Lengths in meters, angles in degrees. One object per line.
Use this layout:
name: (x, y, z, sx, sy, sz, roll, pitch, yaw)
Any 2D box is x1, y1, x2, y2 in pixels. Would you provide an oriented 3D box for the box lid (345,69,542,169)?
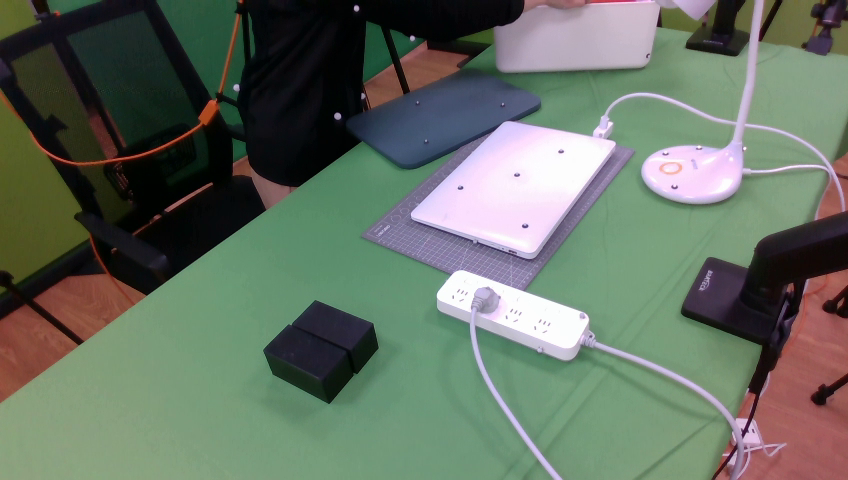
box lid: (0.042, -0.272, 1.299, 0.373, 0.015, 0.261, -29, 44, -23)

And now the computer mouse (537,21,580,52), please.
computer mouse: (0.334, -0.503, 1.488, 0.118, 0.041, 0.062, 21, 21, -27)

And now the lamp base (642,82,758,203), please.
lamp base: (0.464, -0.174, 0.992, 0.179, 0.181, 0.159, -5, 41, -1)

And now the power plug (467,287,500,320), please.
power plug: (0.073, 0.092, 0.814, 0.035, 0.053, 0.073, 29, 54, 34)

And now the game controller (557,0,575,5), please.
game controller: (0.360, -0.569, 1.352, 0.155, 0.052, 0.096, -11, 38, -1)

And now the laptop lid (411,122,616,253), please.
laptop lid: (0.164, -0.111, 1.067, 0.240, 0.013, 0.357, 19, 46, 31)

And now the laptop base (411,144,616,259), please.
laptop base: (0.168, -0.102, 1.074, 0.234, 0.023, 0.355, 17, 46, 30)

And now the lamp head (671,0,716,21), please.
lamp head: (0.375, -0.373, 0.807, 0.122, 0.113, 0.112, -40, 27, 32)

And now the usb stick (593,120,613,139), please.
usb stick: (0.336, -0.201, 1.147, 0.021, 0.027, 0.059, 26, 53, 27)

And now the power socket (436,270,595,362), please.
power socket: (0.118, 0.101, 0.832, 0.225, 0.033, 0.072, 19, 48, 27)

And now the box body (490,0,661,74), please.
box body: (0.346, -0.520, 1.429, 0.363, 0.161, 0.253, 0, 41, 9)
